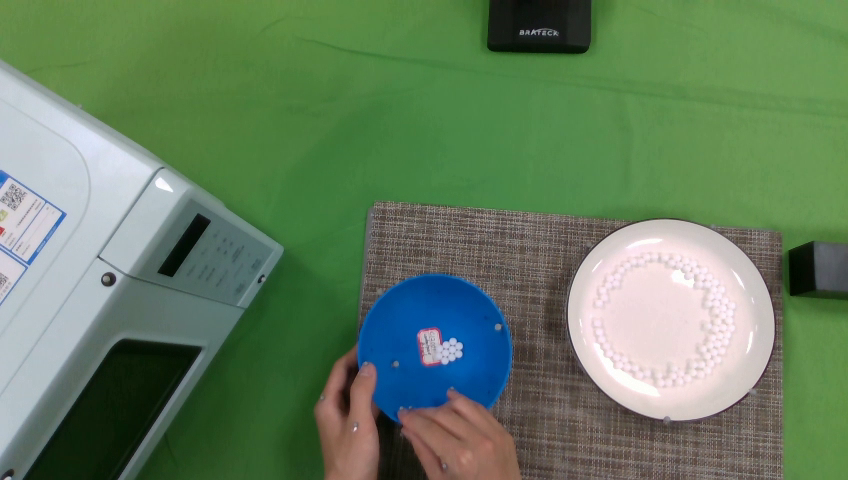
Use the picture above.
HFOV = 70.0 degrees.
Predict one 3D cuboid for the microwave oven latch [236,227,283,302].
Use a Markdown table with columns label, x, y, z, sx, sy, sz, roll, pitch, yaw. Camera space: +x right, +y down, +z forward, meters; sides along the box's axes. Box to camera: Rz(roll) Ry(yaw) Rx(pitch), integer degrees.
| label | x | y | z | sx | sy | sz | roll | pitch | yaw |
| --- | --- | --- | --- | --- | --- | --- | --- | --- | --- |
| microwave oven latch | -0.185 | 0.027 | 0.654 | 0.030 | 0.029 | 0.079 | 32 | 83 | 9 |

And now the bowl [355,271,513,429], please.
| label | x | y | z | sx | sy | sz | roll | pitch | yaw |
| --- | --- | --- | --- | --- | --- | --- | --- | --- | --- |
| bowl | 0.007 | 0.110 | 0.615 | 0.151 | 0.077 | 0.151 | 1 | 81 | -4 |

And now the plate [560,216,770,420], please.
| label | x | y | z | sx | sy | sz | roll | pitch | yaw |
| --- | --- | --- | --- | --- | --- | --- | --- | --- | --- |
| plate | 0.245 | 0.080 | 0.631 | 0.207 | 0.039 | 0.206 | -1 | 79 | 3 |

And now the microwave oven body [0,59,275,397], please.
| label | x | y | z | sx | sy | sz | roll | pitch | yaw |
| --- | --- | --- | --- | --- | --- | --- | --- | --- | --- |
| microwave oven body | -0.410 | 0.082 | 0.558 | 0.325 | 0.261 | 0.441 | 31 | 83 | 9 |

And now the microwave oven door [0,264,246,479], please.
| label | x | y | z | sx | sy | sz | roll | pitch | yaw |
| --- | --- | --- | --- | --- | --- | --- | --- | --- | --- |
| microwave oven door | -0.308 | 0.190 | 0.525 | 0.039 | 0.245 | 0.355 | 30 | 82 | 10 |
